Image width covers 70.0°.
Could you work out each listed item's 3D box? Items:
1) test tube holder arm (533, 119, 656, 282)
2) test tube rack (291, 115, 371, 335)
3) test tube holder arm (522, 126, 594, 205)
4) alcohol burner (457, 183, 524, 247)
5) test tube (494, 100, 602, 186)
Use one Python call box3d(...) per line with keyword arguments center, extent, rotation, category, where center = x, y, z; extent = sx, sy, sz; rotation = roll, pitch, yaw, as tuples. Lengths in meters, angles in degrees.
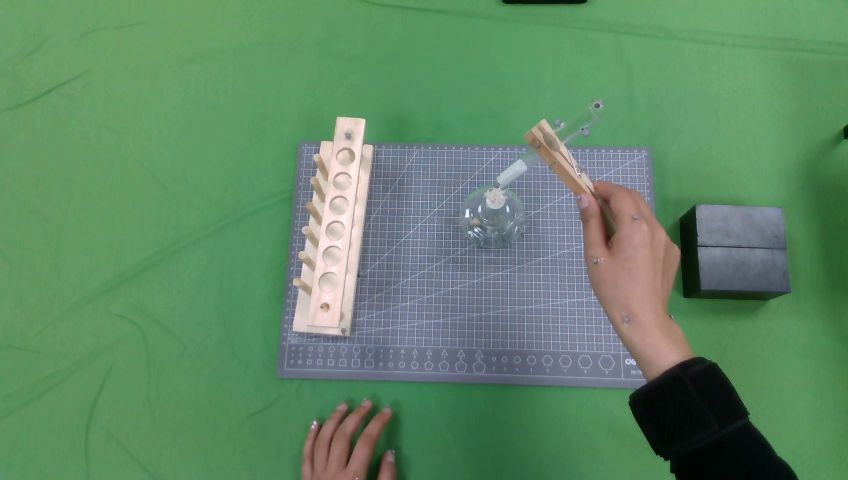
box3d(center=(0.155, -0.035, 0.553), extent=(0.013, 0.015, 0.178), rotation=(-39, 93, -29), category="test tube holder arm")
box3d(center=(-0.112, -0.017, 0.705), extent=(0.067, 0.085, 0.241), rotation=(5, 75, 2), category="test tube rack")
box3d(center=(0.123, -0.066, 0.547), extent=(0.088, 0.015, 0.010), rotation=(46, 61, -6), category="test tube holder arm")
box3d(center=(0.077, -0.033, 0.692), extent=(0.078, 0.119, 0.077), rotation=(0, 76, 2), category="alcohol burner")
box3d(center=(0.107, -0.084, 0.554), extent=(0.017, 0.150, 0.017), rotation=(10, 67, -24), category="test tube")
